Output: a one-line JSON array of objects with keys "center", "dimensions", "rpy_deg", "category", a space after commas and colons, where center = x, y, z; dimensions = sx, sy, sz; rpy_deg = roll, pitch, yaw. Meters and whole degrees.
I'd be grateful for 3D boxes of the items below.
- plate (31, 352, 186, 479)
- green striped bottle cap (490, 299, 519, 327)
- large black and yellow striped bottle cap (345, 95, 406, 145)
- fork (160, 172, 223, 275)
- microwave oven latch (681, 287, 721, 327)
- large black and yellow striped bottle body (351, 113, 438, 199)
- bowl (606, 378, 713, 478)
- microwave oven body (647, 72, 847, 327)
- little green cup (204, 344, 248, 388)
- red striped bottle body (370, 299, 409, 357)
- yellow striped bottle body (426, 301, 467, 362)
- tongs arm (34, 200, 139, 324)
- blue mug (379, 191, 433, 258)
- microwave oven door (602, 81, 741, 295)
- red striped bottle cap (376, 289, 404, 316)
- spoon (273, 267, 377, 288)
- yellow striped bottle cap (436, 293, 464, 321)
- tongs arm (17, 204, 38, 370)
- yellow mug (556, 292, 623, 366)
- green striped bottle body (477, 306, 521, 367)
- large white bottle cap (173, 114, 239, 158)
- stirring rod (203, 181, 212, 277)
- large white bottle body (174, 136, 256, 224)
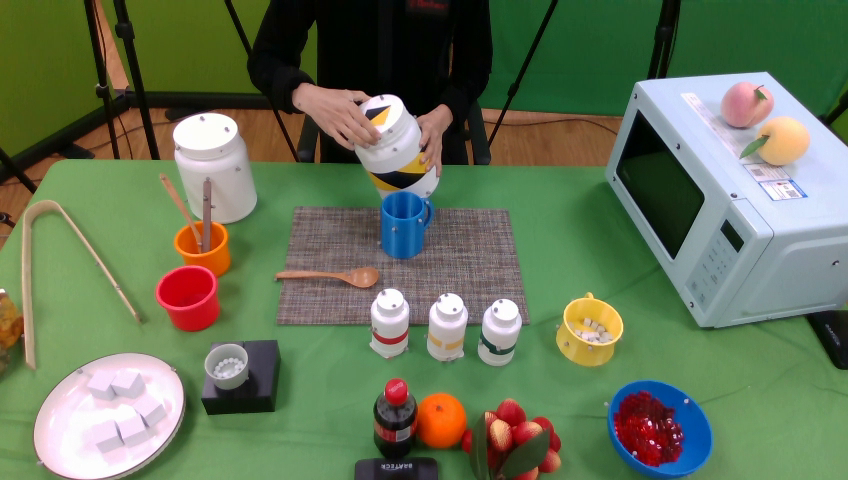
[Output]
[{"center": [-0.459, 0.262, 0.898], "dimensions": [0.209, 0.038, 0.208], "rpy_deg": [2, 46, -2], "category": "plate"}, {"center": [0.127, 0.115, 0.958], "dimensions": [0.044, 0.020, 0.044], "rpy_deg": [2, 48, -2], "category": "green striped bottle cap"}, {"center": [-0.090, -0.223, 1.115], "dimensions": [0.115, 0.019, 0.114], "rpy_deg": [-12, 51, 15], "category": "large black and yellow striped bottle cap"}, {"center": [-0.425, -0.030, 1.103], "dimensions": [0.028, 0.018, 0.207], "rpy_deg": [-29, 98, -19], "category": "fork"}, {"center": [0.494, 0.119, 1.087], "dimensions": [0.030, 0.029, 0.078], "rpy_deg": [-6, 46, -9], "category": "microwave oven latch"}, {"center": [-0.061, -0.168, 1.181], "dimensions": [0.130, 0.185, 0.130], "rpy_deg": [-12, 49, 15], "category": "large black and yellow striped bottle body"}, {"center": [0.340, 0.292, 0.906], "dimensions": [0.151, 0.077, 0.150], "rpy_deg": [2, 46, -2], "category": "bowl"}, {"center": [0.607, -0.089, 1.164], "dimensions": [0.326, 0.261, 0.438], "rpy_deg": [-7, 46, -10], "category": "microwave oven body"}, {"center": [-0.294, 0.191, 0.909], "dimensions": [0.061, 0.039, 0.061], "rpy_deg": [1, 48, -1], "category": "little green cup"}, {"center": [-0.057, 0.135, 0.997], "dimensions": [0.063, 0.120, 0.062], "rpy_deg": [2, 47, -2], "category": "red striped bottle body"}, {"center": [0.037, 0.142, 0.996], "dimensions": [0.063, 0.121, 0.062], "rpy_deg": [2, 46, -2], "category": "yellow striped bottle body"}, {"center": [-0.622, 0.034, 1.105], "dimensions": [0.051, 0.026, 0.382], "rpy_deg": [-32, 55, -26], "category": "tongs arm"}, {"center": [-0.031, -0.035, 1.167], "dimensions": [0.116, 0.106, 0.082], "rpy_deg": [-26, 54, -26], "category": "blue mug"}, {"center": [0.456, -0.107, 1.162], "dimensions": [0.039, 0.245, 0.353], "rpy_deg": [-7, 47, -11], "category": "microwave oven door"}, {"center": [-0.055, 0.098, 0.958], "dimensions": [0.044, 0.018, 0.044], "rpy_deg": [0, 48, 0], "category": "red striped bottle cap"}, {"center": [-0.183, 0.065, 1.115], "dimensions": [0.194, 0.022, 0.041], "rpy_deg": [3, 67, -1], "category": "spoon"}, {"center": [0.041, 0.106, 0.959], "dimensions": [0.044, 0.019, 0.044], "rpy_deg": [0, 50, 1], "category": "yellow striped bottle cap"}, {"center": [-0.698, 0.069, 1.068], "dimensions": [0.028, 0.028, 0.385], "rpy_deg": [-20, 50, -13], "category": "tongs arm"}, {"center": [0.285, 0.145, 1.051], "dimensions": [0.100, 0.064, 0.130], "rpy_deg": [7, 45, 3], "category": "yellow mug"}, {"center": [0.124, 0.151, 0.995], "dimensions": [0.063, 0.120, 0.063], "rpy_deg": [2, 46, -2], "category": "green striped bottle body"}, {"center": [-0.403, -0.195, 1.122], "dimensions": [0.115, 0.018, 0.114], "rpy_deg": [2, 47, -2], "category": "large white bottle cap"}, {"center": [-0.396, -0.021, 1.108], "dimensions": [0.014, 0.006, 0.176], "rpy_deg": [-1, 89, -1], "category": "stirring rod"}, {"center": [-0.408, -0.137, 1.183], "dimensions": [0.131, 0.185, 0.130], "rpy_deg": [2, 46, -2], "category": "large white bottle body"}]
